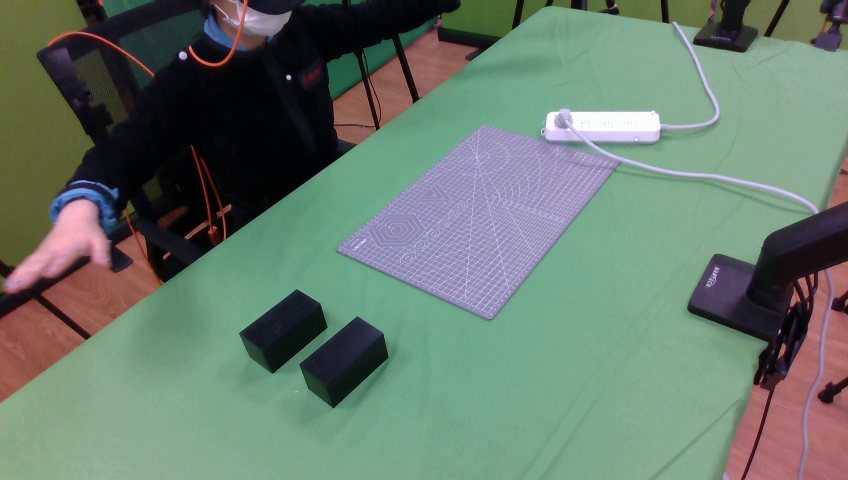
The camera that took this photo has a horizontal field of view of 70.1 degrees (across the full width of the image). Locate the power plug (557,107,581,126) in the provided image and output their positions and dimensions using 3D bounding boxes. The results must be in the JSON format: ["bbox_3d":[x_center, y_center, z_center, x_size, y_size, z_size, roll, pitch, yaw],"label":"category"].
[{"bbox_3d":[0.286,-0.238,1.162,0.073,0.035,0.052,-14,30,-42],"label":"power plug"}]

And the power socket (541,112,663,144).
[{"bbox_3d":[0.341,-0.217,1.164,0.226,0.033,0.072,4,43,12],"label":"power socket"}]
